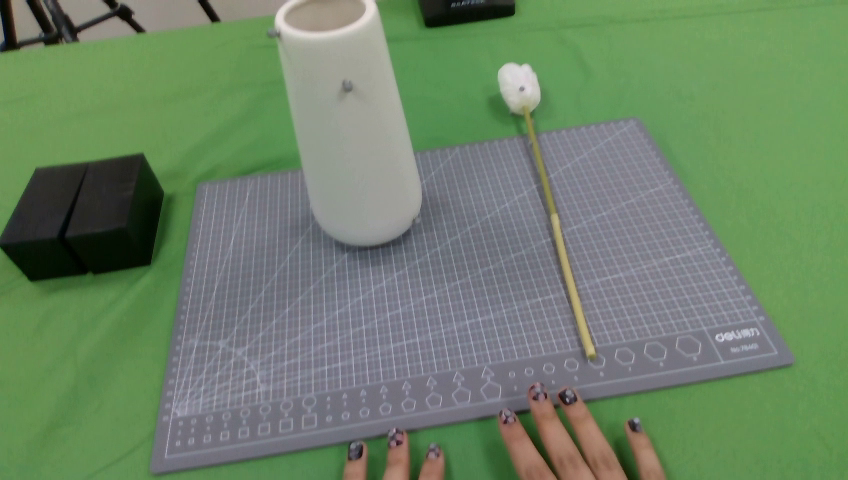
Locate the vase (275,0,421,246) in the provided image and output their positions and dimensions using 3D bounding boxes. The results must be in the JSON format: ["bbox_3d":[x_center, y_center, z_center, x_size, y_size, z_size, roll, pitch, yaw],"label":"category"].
[{"bbox_3d":[-0.059,-0.088,0.480,0.098,0.202,0.097,-4,47,4],"label":"vase"}]

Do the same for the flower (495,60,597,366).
[{"bbox_3d":[0.111,-0.048,0.556,0.044,0.038,0.358,18,46,-28],"label":"flower"}]
